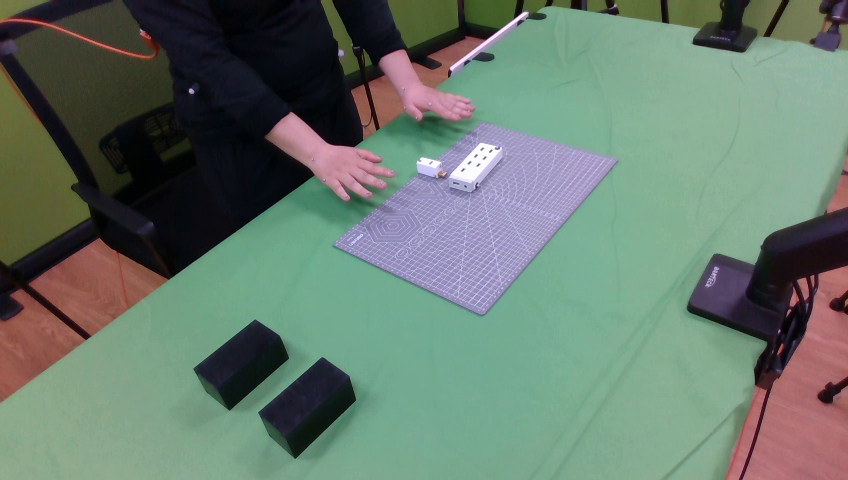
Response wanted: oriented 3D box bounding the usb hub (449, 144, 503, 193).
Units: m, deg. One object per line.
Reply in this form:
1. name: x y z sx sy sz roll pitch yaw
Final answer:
1. usb hub: 0.096 -0.132 1.105 0.049 0.025 0.125 18 47 27

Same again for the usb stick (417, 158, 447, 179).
1. usb stick: 0.016 -0.130 1.113 0.059 0.027 0.021 22 44 26
